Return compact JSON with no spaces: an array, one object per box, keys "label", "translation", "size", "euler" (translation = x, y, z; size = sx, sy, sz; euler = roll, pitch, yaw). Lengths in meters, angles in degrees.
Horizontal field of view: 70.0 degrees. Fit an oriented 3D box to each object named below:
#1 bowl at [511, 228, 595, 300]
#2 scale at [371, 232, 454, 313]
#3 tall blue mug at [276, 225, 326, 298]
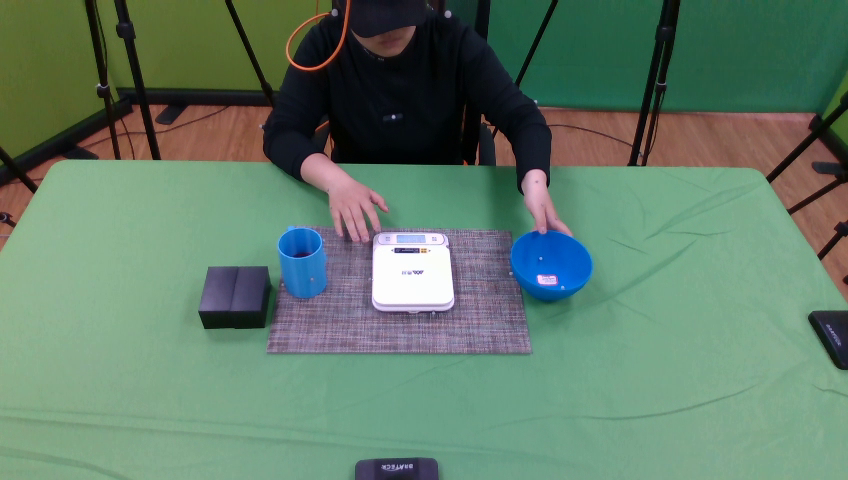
[{"label":"bowl","translation":[0.230,0.058,1.118],"size":[0.151,0.077,0.150],"euler":[2,46,-2]},{"label":"scale","translation":[-0.023,0.051,1.134],"size":[0.149,0.032,0.199],"euler":[1,46,-4]},{"label":"tall blue mug","translation":[-0.228,0.033,1.083],"size":[0.107,0.108,0.077],"euler":[30,52,23]}]
